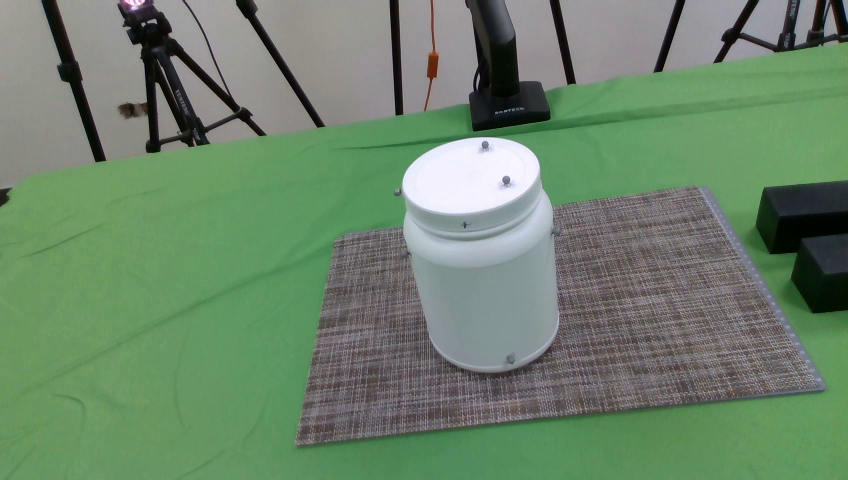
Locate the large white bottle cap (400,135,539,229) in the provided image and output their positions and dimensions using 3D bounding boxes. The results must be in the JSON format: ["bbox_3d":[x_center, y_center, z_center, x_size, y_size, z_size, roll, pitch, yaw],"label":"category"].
[{"bbox_3d":[0.036,-0.051,0.499,0.115,0.018,0.113,-8,38,7],"label":"large white bottle cap"}]

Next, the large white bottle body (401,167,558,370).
[{"bbox_3d":[0.052,0.014,0.553,0.130,0.186,0.129,-8,39,7],"label":"large white bottle body"}]
